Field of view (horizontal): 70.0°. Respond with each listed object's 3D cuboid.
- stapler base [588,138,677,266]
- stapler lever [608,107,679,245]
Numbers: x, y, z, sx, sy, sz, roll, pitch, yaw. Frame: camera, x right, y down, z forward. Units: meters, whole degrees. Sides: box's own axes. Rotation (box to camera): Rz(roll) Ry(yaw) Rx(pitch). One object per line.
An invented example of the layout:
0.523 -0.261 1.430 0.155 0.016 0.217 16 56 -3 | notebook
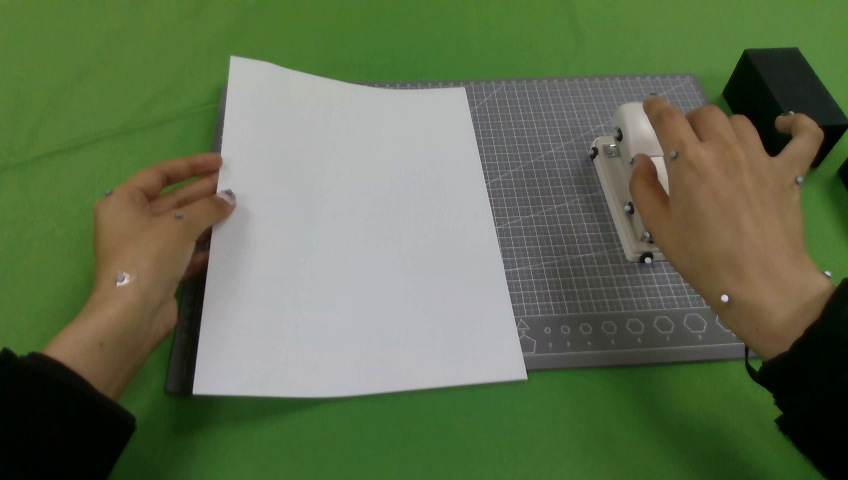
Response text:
0.167 -0.040 0.487 0.041 0.024 0.129 -5 56 -2 | stapler base
0.168 -0.053 0.465 0.027 0.040 0.117 -5 56 -2 | stapler lever
